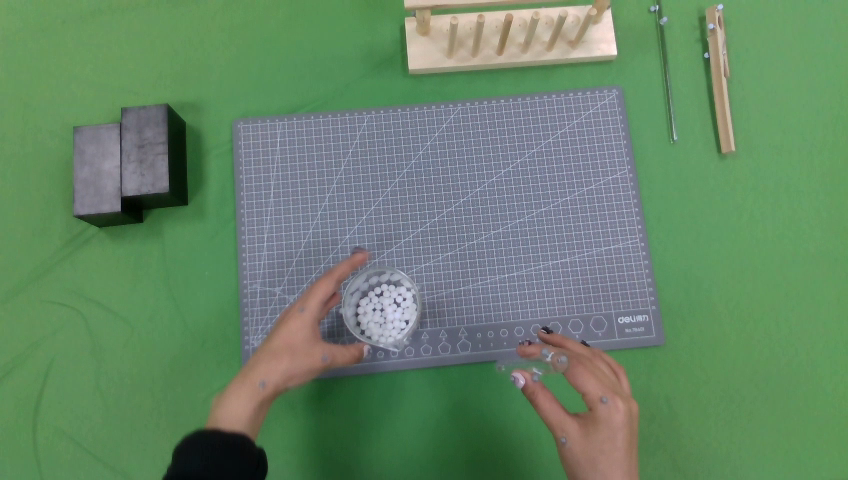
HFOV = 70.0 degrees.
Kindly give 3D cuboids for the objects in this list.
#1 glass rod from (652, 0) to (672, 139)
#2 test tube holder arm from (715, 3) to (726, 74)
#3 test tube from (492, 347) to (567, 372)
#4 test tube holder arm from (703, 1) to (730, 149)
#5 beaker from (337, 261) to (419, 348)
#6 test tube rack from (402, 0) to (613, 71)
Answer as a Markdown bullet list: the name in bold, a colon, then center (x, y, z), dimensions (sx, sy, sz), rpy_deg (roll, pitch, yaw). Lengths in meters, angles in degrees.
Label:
- **glass rod**: center (0.278, -0.214, 0.711), dimensions (0.008, 0.008, 0.199), rpy_deg (-1, 79, -1)
- **test tube holder arm**: center (0.343, -0.235, 0.710), dimensions (0.010, 0.015, 0.087), rpy_deg (7, 77, -29)
- **test tube**: center (0.084, 0.102, 0.509), dimensions (0.017, 0.150, 0.017), rpy_deg (2, 76, -10)
- **test tube holder arm**: center (0.337, -0.191, 0.699), dimensions (0.013, 0.015, 0.177), rpy_deg (7, 78, -29)
- **beaker**: center (-0.040, 0.069, 0.606), dimensions (0.074, 0.100, 0.083), rpy_deg (-22, 80, -4)
- **test tube rack**: center (0.097, -0.247, 0.677), dimensions (0.242, 0.085, 0.066), rpy_deg (-4, 79, -1)
